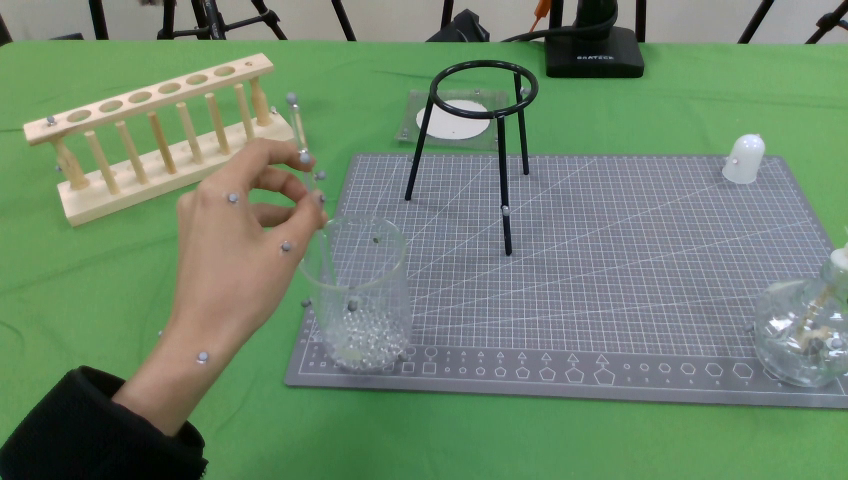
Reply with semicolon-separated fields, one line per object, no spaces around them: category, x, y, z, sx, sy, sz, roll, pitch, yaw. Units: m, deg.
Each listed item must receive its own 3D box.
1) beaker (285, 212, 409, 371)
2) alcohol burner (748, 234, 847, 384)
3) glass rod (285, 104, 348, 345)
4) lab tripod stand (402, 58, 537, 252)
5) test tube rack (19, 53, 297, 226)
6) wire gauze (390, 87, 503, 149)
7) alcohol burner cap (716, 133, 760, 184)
beaker;-0.051;0.042;0.442;0.084;0.101;0.073;-1;43;4
alcohol burner;0.268;0.043;0.410;0.078;0.120;0.077;-2;41;2
glass rod;-0.067;0.002;0.399;0.008;0.201;0.008;-3;40;3
lab tripod stand;0.046;-0.081;0.540;0.148;0.133;0.147;-3;45;3
test tube rack;-0.264;-0.109;0.628;0.242;0.086;0.066;-25;48;-21
wire gauze;0.029;-0.145;0.707;0.125;0.011;0.120;3;43;9
alcohol burner cap;0.309;-0.083;0.593;0.034;0.048;0.033;-2;43;2
